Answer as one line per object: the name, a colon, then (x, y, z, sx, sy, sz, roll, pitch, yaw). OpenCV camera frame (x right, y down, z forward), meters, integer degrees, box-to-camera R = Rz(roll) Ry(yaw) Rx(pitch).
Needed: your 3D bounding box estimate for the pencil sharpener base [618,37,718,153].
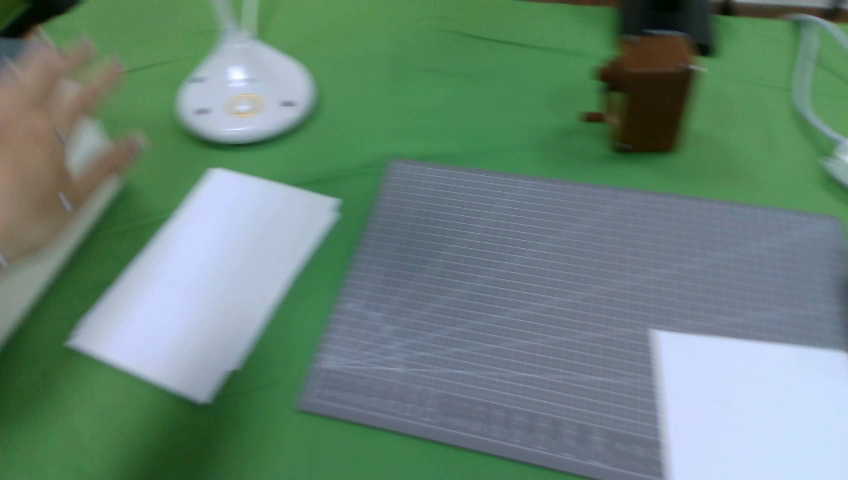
pencil sharpener base: (0.243, -0.147, 0.626, 0.076, 0.108, 0.061, 0, 51, 5)

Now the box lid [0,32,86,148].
box lid: (-0.476, -0.061, 0.477, 0.262, 0.015, 0.369, 10, 52, 12)

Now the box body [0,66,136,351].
box body: (-0.471, -0.015, 0.535, 0.253, 0.162, 0.361, 10, 52, 12)

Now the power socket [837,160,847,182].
power socket: (0.495, -0.020, 0.551, 0.072, 0.033, 0.224, -23, 52, -15)

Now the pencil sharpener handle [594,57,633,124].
pencil sharpener handle: (0.191, -0.151, 0.616, 0.030, 0.068, 0.035, 0, 29, 5)

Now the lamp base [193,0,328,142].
lamp base: (-0.206, -0.232, 0.682, 0.161, 0.182, 0.177, -15, 49, -8)
